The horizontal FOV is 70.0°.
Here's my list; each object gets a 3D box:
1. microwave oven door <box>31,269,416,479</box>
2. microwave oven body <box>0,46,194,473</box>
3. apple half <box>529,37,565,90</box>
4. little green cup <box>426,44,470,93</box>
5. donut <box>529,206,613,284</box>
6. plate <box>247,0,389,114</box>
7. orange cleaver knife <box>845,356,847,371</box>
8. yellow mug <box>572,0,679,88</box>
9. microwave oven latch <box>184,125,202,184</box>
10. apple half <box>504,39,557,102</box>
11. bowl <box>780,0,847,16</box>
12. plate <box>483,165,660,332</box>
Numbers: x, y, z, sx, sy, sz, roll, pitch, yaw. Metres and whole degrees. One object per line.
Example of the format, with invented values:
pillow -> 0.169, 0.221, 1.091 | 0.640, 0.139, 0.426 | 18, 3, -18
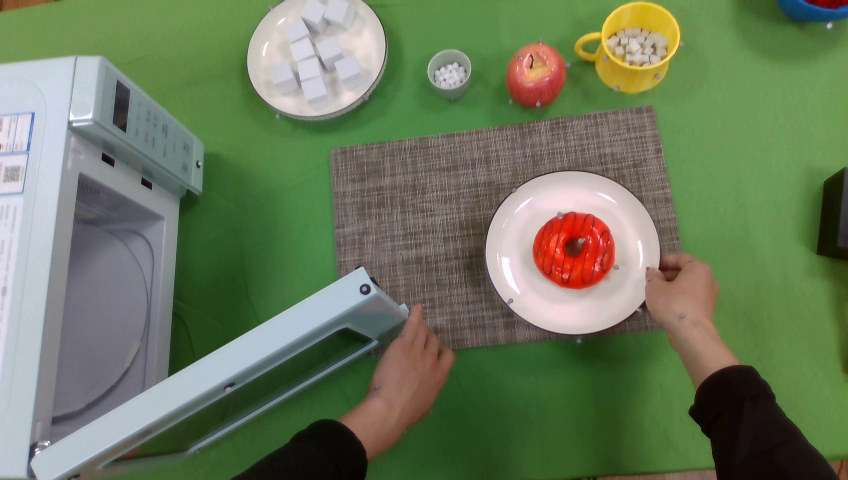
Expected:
microwave oven door -> -0.187, 0.149, 0.663 | 0.356, 0.245, 0.039 | -30, 74, -1
microwave oven body -> -0.484, 0.038, 0.732 | 0.326, 0.261, 0.439 | -4, 77, 6
apple half -> 0.170, -0.241, 0.816 | 0.033, 0.082, 0.081 | -34, 74, 3
little green cup -> 0.036, -0.238, 0.851 | 0.061, 0.039, 0.061 | -2, 76, 8
donut -> 0.177, 0.006, 0.731 | 0.099, 0.048, 0.098 | -2, 76, 10
plate -> -0.152, -0.275, 0.884 | 0.207, 0.039, 0.206 | -2, 76, 7
orange cleaver knife -> 0.522, 0.050, 0.694 | 0.012, 0.077, 0.212 | 13, 111, 12
yellow mug -> 0.266, -0.265, 0.814 | 0.130, 0.064, 0.099 | 4, 77, 9
microwave oven latch -> -0.330, -0.119, 0.850 | 0.030, 0.029, 0.079 | -2, 77, 6
apple half -> 0.137, -0.220, 0.817 | 0.053, 0.075, 0.080 | -33, 78, 3
bowl -> 0.520, -0.352, 0.796 | 0.151, 0.077, 0.150 | -2, 77, 8
plate -> 0.177, 0.010, 0.741 | 0.209, 0.038, 0.208 | -3, 75, 10
